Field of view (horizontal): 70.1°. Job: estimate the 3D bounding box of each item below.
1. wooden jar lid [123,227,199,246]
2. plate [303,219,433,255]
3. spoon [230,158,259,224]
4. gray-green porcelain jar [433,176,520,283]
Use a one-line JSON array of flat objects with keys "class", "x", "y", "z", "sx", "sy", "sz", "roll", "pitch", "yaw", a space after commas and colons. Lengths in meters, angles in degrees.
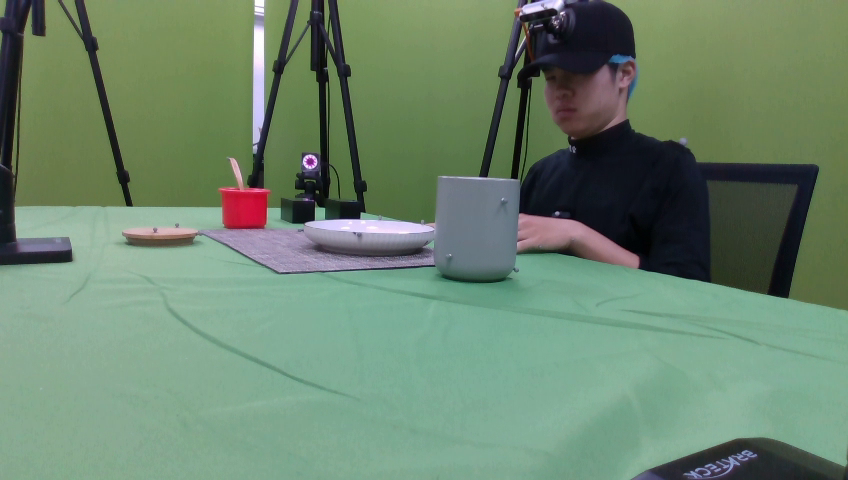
[{"class": "wooden jar lid", "x": -0.408, "y": -0.006, "z": 0.942, "sx": 0.108, "sy": 0.020, "sz": 0.108, "roll": 3, "pitch": 6, "yaw": 0}, {"class": "plate", "x": -0.084, "y": -0.005, "z": 0.952, "sx": 0.208, "sy": 0.039, "sz": 0.207, "roll": 3, "pitch": 7, "yaw": 0}, {"class": "spoon", "x": -0.366, "y": -0.101, "z": 1.215, "sx": 0.042, "sy": 0.021, "sz": 0.193, "roll": -1, "pitch": 52, "yaw": -30}, {"class": "gray-green porcelain jar", "x": 0.064, "y": -0.015, "z": 0.759, "sx": 0.106, "sy": 0.126, "sz": 0.106, "roll": 2, "pitch": 7, "yaw": 0}]
